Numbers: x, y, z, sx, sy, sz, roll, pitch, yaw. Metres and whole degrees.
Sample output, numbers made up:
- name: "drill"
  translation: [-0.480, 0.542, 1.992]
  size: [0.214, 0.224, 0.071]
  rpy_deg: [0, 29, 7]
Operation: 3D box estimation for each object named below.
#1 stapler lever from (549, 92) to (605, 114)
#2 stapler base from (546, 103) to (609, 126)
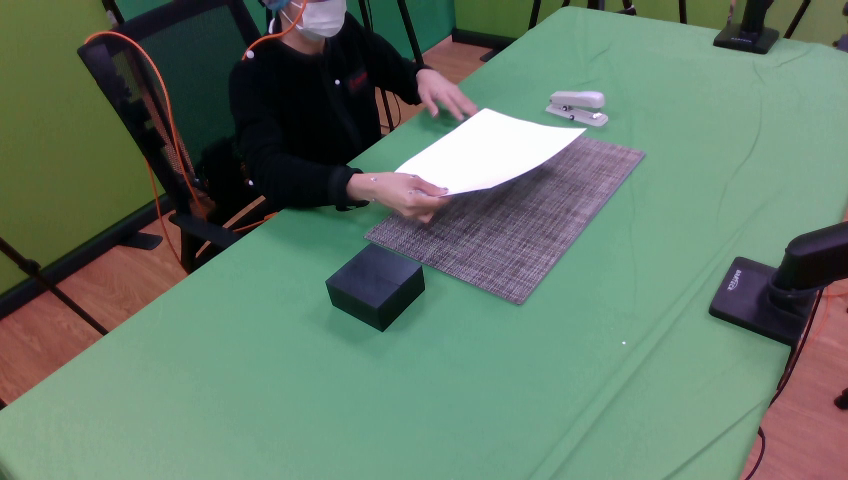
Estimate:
- name: "stapler lever"
  translation: [0.309, -0.285, 1.220]
  size: [0.117, 0.040, 0.027]
  rpy_deg: [26, 49, 35]
- name: "stapler base"
  translation: [0.313, -0.265, 1.235]
  size: [0.129, 0.024, 0.041]
  rpy_deg: [26, 49, 35]
